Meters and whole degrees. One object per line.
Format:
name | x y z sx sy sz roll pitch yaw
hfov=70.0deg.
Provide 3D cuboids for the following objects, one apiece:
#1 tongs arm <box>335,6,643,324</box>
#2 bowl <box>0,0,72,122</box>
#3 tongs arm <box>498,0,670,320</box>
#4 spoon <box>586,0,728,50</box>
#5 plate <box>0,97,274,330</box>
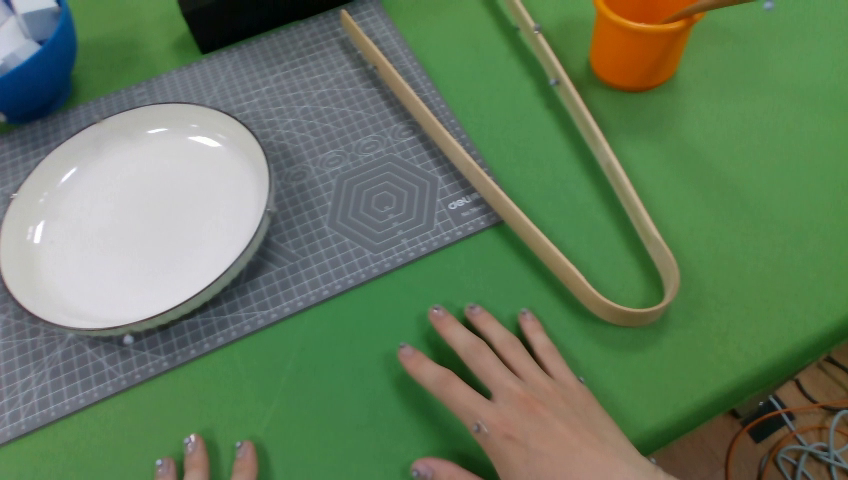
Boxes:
tongs arm | 0.027 -0.078 0.490 0.028 0.028 0.384 -30 63 -17
bowl | -0.384 -0.161 0.549 0.151 0.077 0.150 -2 59 4
tongs arm | 0.102 -0.112 0.503 0.051 0.027 0.381 -19 62 -8
spoon | 0.197 -0.176 0.465 0.041 0.192 0.022 -45 109 -16
plate | -0.217 -0.023 0.474 0.207 0.039 0.206 -2 60 4
